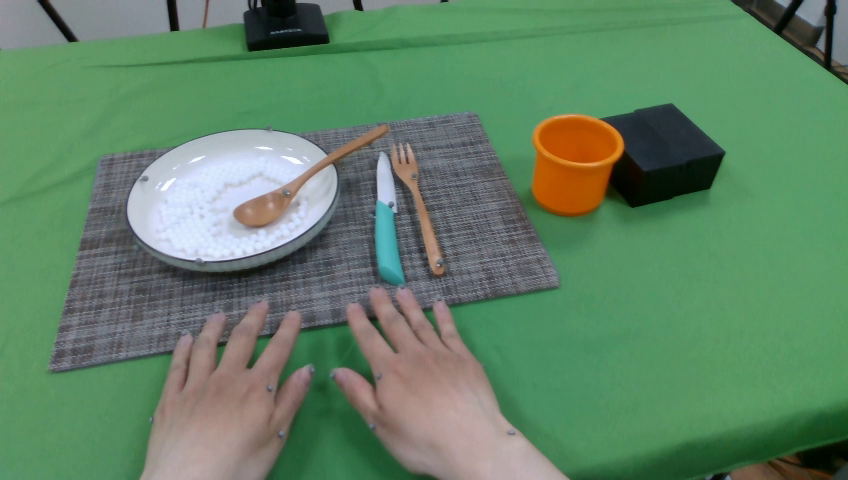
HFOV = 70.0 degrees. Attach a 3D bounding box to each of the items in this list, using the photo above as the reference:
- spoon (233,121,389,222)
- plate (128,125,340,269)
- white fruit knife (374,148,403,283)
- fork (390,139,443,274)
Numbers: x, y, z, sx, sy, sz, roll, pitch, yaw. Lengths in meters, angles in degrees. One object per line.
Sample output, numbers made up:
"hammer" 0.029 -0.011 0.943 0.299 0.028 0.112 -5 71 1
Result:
"spoon" -0.112 -0.075 0.633 0.193 0.022 0.041 -38 54 -17
"plate" -0.189 -0.044 0.623 0.209 0.038 0.207 0 45 0
"white fruit knife" -0.041 -0.035 0.634 0.027 0.016 0.205 20 38 -24
"fork" -0.008 -0.043 0.636 0.028 0.019 0.205 0 43 -17
